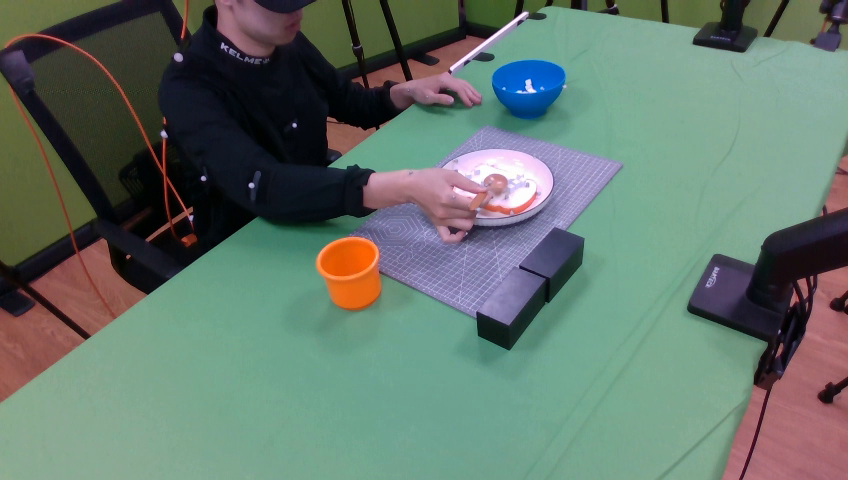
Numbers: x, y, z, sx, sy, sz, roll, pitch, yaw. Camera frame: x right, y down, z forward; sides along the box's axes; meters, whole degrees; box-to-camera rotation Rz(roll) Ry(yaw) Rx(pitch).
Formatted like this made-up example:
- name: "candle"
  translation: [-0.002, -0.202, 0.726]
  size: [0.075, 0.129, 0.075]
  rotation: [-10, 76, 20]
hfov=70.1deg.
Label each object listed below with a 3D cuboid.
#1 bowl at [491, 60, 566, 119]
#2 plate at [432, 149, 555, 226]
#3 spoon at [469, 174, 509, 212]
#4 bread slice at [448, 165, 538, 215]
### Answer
- name: "bowl"
  translation: [0.215, -0.302, 1.248]
  size: [0.151, 0.077, 0.150]
  rotation: [-4, 41, 4]
- name: "plate"
  translation: [0.120, -0.087, 1.037]
  size: [0.209, 0.038, 0.208]
  rotation: [-4, 40, 4]
- name: "spoon"
  translation: [0.097, -0.076, 0.943]
  size: [0.041, 0.021, 0.194]
  rotation: [17, 20, 14]
- name: "bread slice"
  translation: [0.126, -0.085, 1.038]
  size: [0.133, 0.018, 0.107]
  rotation: [16, 45, 27]
